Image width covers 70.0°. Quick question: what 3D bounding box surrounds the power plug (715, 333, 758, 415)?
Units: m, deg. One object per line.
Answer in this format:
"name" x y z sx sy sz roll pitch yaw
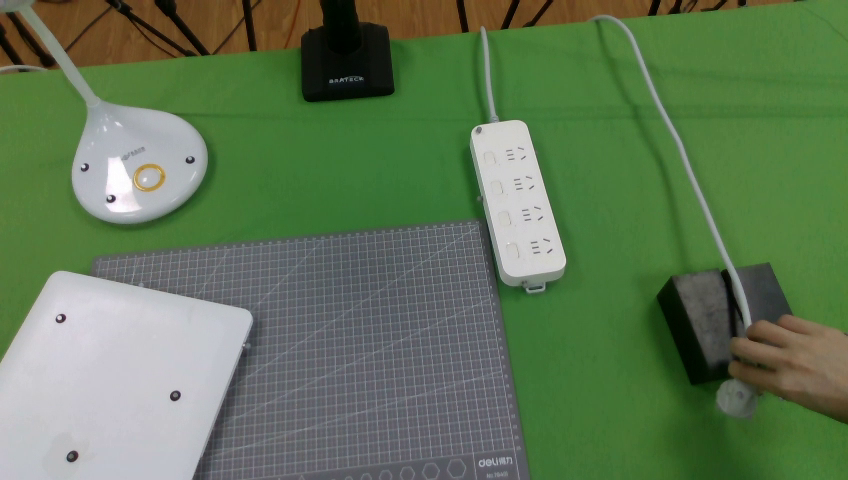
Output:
"power plug" 0.303 0.130 0.569 0.035 0.053 0.072 31 77 23

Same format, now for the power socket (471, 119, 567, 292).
"power socket" 0.106 -0.049 0.701 0.072 0.033 0.224 -7 62 -4

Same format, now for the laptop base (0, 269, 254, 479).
"laptop base" -0.331 0.207 0.585 0.235 0.023 0.352 12 63 4

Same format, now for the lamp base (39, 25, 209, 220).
"lamp base" -0.354 -0.137 0.673 0.178 0.182 0.160 39 69 23

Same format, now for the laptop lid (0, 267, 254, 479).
"laptop lid" -0.329 0.201 0.575 0.241 0.013 0.354 13 64 6
